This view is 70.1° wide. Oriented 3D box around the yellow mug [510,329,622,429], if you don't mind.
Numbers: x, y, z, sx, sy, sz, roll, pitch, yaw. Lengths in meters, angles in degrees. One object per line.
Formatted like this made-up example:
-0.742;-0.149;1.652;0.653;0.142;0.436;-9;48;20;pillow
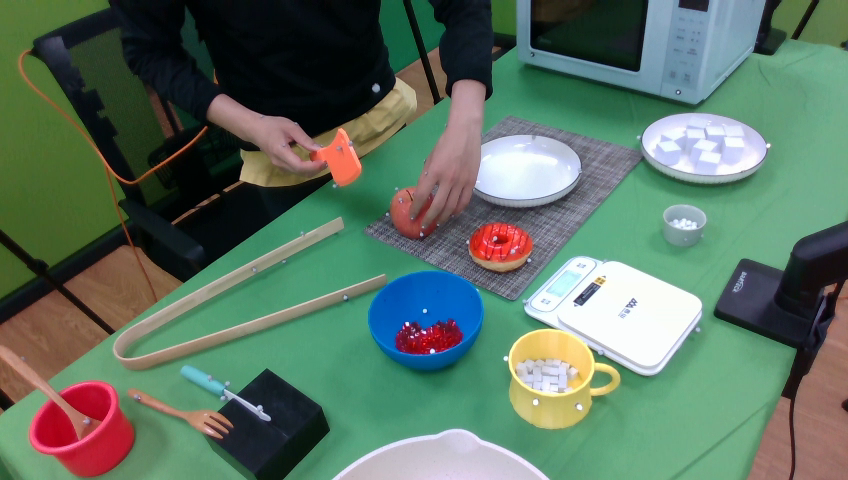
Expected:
0.168;0.164;0.721;0.130;0.064;0.099;0;40;8;yellow mug

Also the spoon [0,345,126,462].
-0.434;0.192;0.720;0.194;0.021;0.042;47;53;-7;spoon

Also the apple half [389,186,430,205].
-0.019;-0.061;1.003;0.081;0.081;0.032;-8;45;0;apple half

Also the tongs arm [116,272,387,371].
-0.237;0.115;0.870;0.389;0.028;0.028;-18;49;-12;tongs arm

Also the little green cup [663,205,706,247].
0.396;-0.021;0.926;0.061;0.039;0.061;-4;40;4;little green cup

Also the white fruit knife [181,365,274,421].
-0.245;0.187;0.747;0.205;0.027;0.016;9;41;40;white fruit knife

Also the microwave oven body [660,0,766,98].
0.472;-0.513;1.317;0.438;0.261;0.327;26;51;34;microwave oven body

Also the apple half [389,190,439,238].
-0.014;-0.035;0.974;0.081;0.075;0.053;-7;44;-4;apple half

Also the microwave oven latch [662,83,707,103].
0.517;-0.296;1.204;0.078;0.029;0.030;28;52;35;microwave oven latch

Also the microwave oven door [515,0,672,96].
0.344;-0.455;1.259;0.353;0.245;0.039;26;51;33;microwave oven door

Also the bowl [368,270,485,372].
0.007;0.118;0.791;0.151;0.077;0.150;-4;40;4;bowl

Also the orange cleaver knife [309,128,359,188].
-0.137;-0.116;0.907;0.012;0.077;0.210;-20;8;-23;orange cleaver knife

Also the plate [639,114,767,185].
0.489;-0.157;1.074;0.207;0.039;0.206;-4;40;4;plate

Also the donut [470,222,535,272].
0.119;0.009;0.923;0.099;0.048;0.098;-4;38;4;donut

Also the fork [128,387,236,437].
-0.305;0.207;0.744;0.206;0.019;0.028;3;41;36;fork

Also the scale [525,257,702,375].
0.254;0.091;0.821;0.199;0.032;0.149;28;51;35;scale

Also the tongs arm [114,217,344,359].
-0.280;0.068;0.927;0.386;0.026;0.050;-29;49;-23;tongs arm

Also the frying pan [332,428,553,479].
-0.089;0.306;0.564;0.487;0.103;0.306;10;41;7;frying pan

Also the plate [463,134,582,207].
0.173;-0.119;1.070;0.209;0.038;0.208;-4;40;4;plate
